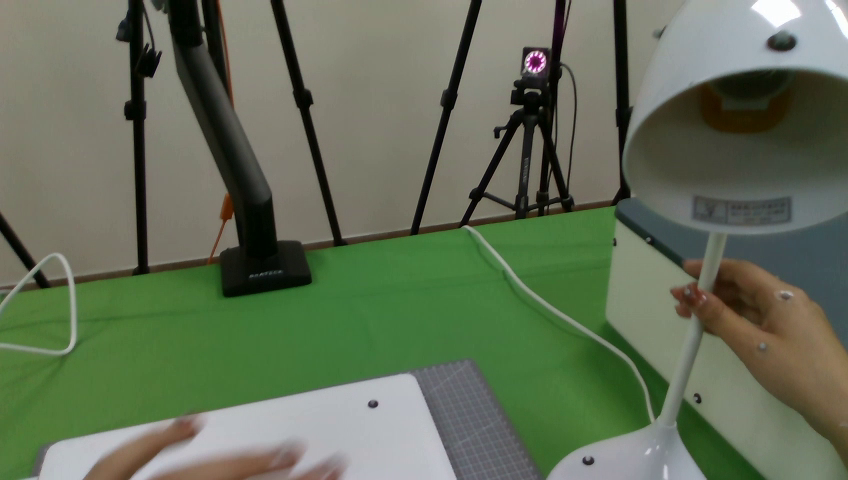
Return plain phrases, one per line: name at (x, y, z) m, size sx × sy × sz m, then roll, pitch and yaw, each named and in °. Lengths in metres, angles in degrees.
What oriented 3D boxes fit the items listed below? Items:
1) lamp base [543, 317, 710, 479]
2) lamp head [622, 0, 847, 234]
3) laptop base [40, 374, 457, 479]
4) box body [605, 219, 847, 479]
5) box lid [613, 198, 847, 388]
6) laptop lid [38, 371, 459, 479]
lamp base at (0.185, 0.160, 0.485) m, size 0.160 × 0.181 × 0.179 m, roll 13°, pitch 28°, yaw 21°
lamp head at (0.161, -0.077, 0.301) m, size 0.112 × 0.113 × 0.122 m, roll 9°, pitch 54°, yaw 15°
laptop base at (-0.147, 0.228, 0.523) m, size 0.355 × 0.023 × 0.233 m, roll -8°, pitch 33°, yaw -16°
box body at (0.393, 0.091, 0.644) m, size 0.255 × 0.161 × 0.360 m, roll -9°, pitch 30°, yaw -17°
box lid at (0.393, 0.025, 0.610) m, size 0.264 × 0.015 × 0.367 m, roll -8°, pitch 30°, yaw -17°
laptop lid at (-0.146, 0.219, 0.515) m, size 0.358 × 0.013 × 0.239 m, roll -7°, pitch 31°, yaw -14°
